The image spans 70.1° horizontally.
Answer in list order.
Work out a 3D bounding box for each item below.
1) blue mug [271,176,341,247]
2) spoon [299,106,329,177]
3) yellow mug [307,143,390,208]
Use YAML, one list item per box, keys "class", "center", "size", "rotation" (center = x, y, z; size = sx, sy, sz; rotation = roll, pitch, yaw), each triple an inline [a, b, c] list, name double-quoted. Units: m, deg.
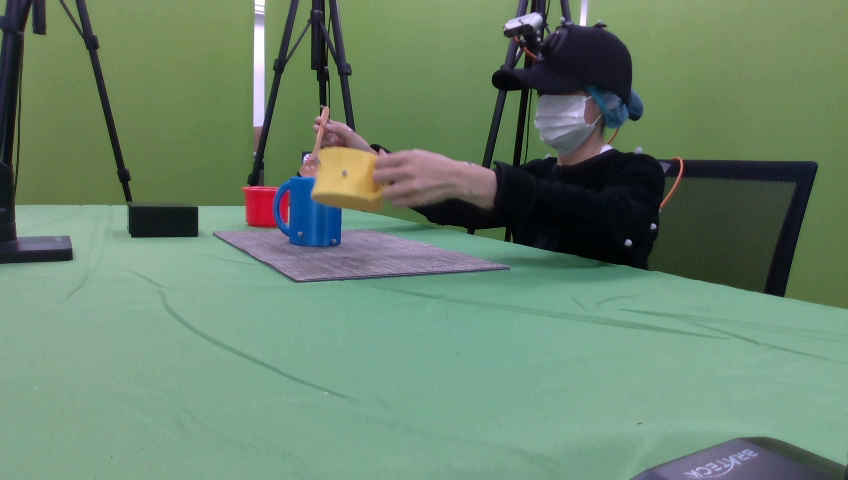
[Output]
- class: "blue mug"
  center: [-0.190, -0.047, 0.963]
  size: [0.116, 0.106, 0.082]
  rotation: [5, 8, 13]
- class: "spoon"
  center: [-0.198, -0.185, 1.138]
  size: [0.042, 0.193, 0.021]
  rotation: [8, -31, -2]
- class: "yellow mug"
  center: [-0.096, -0.088, 0.835]
  size: [0.130, 0.064, 0.100]
  rotation: [1, -12, 39]
